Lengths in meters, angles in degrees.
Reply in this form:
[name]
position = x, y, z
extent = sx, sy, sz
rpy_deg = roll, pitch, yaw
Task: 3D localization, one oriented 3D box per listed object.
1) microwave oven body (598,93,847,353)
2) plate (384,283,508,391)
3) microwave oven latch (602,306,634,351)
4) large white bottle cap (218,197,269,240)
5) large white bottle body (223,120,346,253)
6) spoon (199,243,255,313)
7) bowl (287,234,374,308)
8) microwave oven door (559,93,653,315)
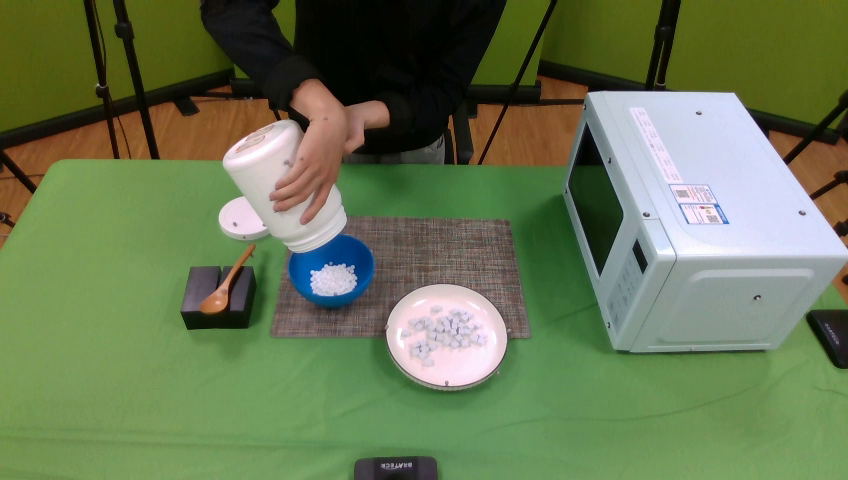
[microwave oven body]
position = 0.475, -0.041, 1.109
extent = 0.326, 0.261, 0.438
rpy_deg = -1, 45, -4
[plate]
position = 0.036, 0.166, 1.029
extent = 0.209, 0.038, 0.208
rpy_deg = 2, 49, -2
[microwave oven latch]
position = 0.332, 0.153, 1.044
extent = 0.030, 0.029, 0.078
rpy_deg = 0, 45, -4
[large white bottle cap]
position = -0.355, -0.045, 1.220
extent = 0.115, 0.018, 0.114
rpy_deg = 2, 45, -2
[large white bottle body]
position = -0.215, -0.082, 0.968
extent = 0.130, 0.185, 0.130
rpy_deg = -21, 29, 13
[spoon]
position = -0.333, 0.062, 1.051
extent = 0.041, 0.022, 0.193
rpy_deg = 8, 40, 8
[bowl]
position = -0.164, 0.068, 1.078
extent = 0.151, 0.077, 0.150
rpy_deg = 3, 46, -3
[microwave oven door]
position = 0.327, -0.074, 1.123
extent = 0.039, 0.245, 0.353
rpy_deg = -1, 46, -5
